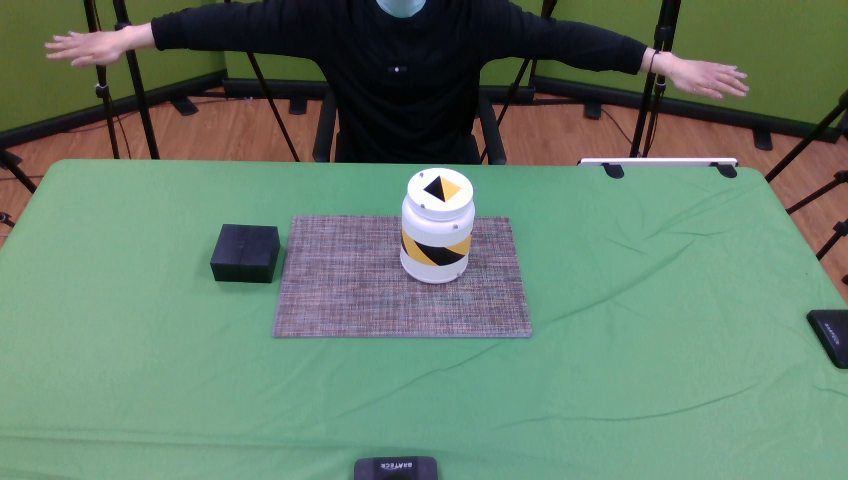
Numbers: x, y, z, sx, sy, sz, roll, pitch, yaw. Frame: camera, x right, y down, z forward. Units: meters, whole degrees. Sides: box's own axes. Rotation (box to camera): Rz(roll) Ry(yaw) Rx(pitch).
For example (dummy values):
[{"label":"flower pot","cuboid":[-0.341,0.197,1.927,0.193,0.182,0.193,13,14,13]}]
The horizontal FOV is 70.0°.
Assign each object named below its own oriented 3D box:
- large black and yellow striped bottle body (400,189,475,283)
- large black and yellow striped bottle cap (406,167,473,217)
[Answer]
[{"label":"large black and yellow striped bottle body","cuboid":[0.024,-0.024,1.102,0.131,0.185,0.130,2,46,-2]},{"label":"large black and yellow striped bottle cap","cuboid":[0.027,-0.084,1.043,0.115,0.019,0.114,3,46,-3]}]
